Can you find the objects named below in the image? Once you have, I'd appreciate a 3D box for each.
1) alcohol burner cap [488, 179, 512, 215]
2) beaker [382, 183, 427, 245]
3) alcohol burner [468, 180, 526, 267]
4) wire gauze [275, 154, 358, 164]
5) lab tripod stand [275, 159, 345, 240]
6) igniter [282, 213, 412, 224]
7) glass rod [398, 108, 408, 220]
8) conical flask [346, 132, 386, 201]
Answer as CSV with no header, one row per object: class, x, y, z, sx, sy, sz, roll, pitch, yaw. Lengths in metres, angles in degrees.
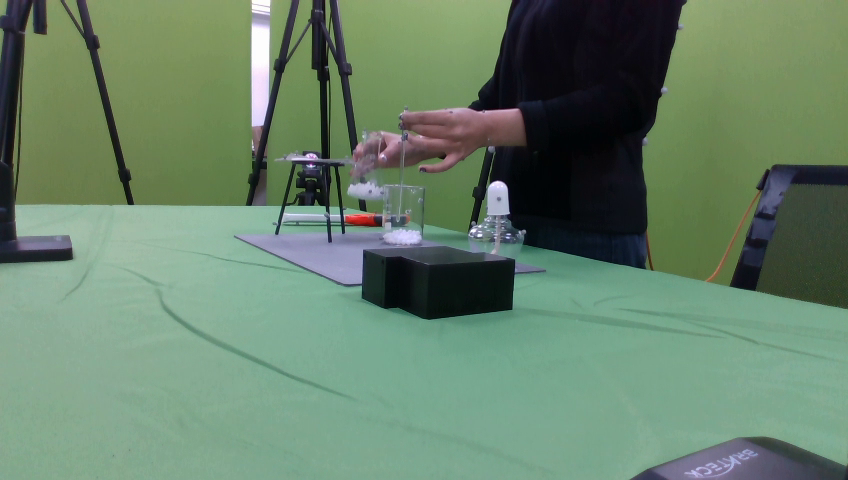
alcohol burner cap,0.101,-0.058,0.816,0.034,0.048,0.034,-5,8,1
beaker,-0.032,-0.044,1.007,0.074,0.100,0.084,6,7,22
alcohol burner,0.101,-0.022,0.821,0.078,0.119,0.078,4,8,0
wire gauze,-0.179,-0.137,1.028,0.121,0.011,0.125,4,8,0
lab tripod stand,-0.181,-0.072,1.039,0.148,0.131,0.148,4,8,0
igniter,-0.159,-0.046,1.286,0.278,0.025,0.057,0,-3,-22
glass rod,-0.034,-0.119,0.986,0.008,0.199,0.008,3,32,-2
conical flask,-0.103,-0.138,1.122,0.075,0.122,0.075,7,14,-1
